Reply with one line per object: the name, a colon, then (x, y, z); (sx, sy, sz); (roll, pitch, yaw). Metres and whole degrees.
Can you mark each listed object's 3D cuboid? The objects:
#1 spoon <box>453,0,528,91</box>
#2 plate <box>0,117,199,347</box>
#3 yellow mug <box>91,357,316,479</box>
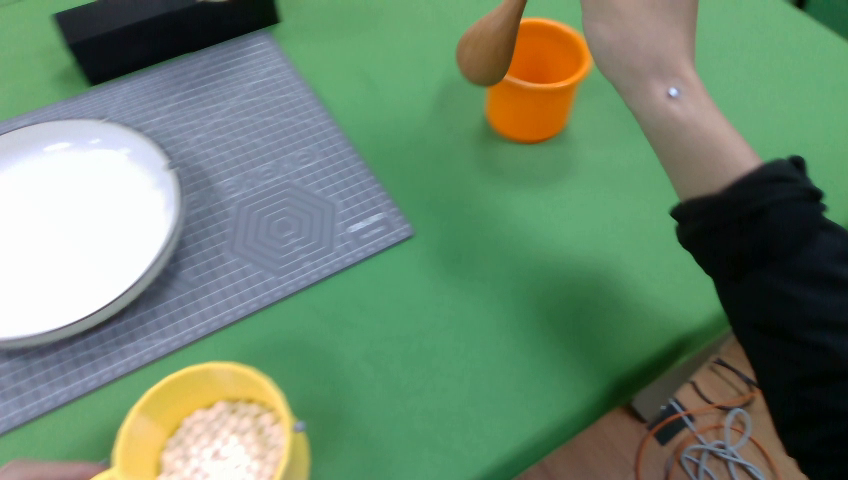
spoon: (0.068, -0.165, 0.365); (0.041, 0.194, 0.021); (35, 44, 1)
plate: (-0.279, -0.009, 0.472); (0.208, 0.039, 0.205); (0, 57, 0)
yellow mug: (-0.136, 0.135, 0.368); (0.131, 0.064, 0.099); (-18, 59, -11)
